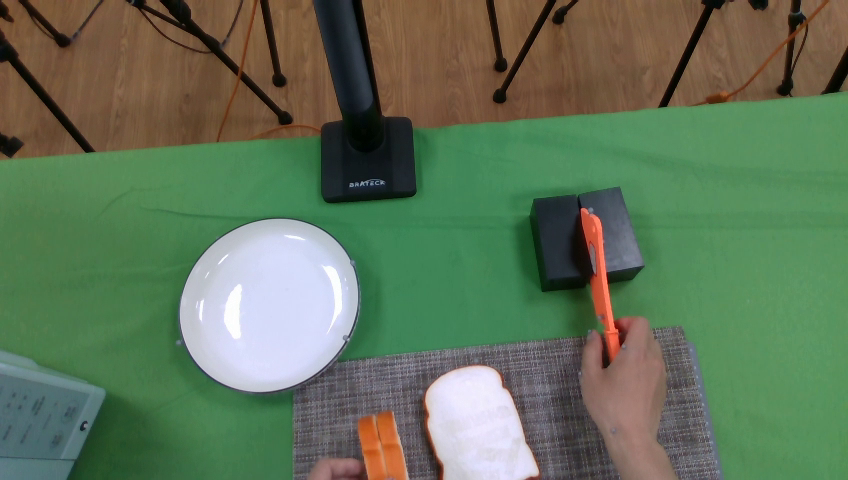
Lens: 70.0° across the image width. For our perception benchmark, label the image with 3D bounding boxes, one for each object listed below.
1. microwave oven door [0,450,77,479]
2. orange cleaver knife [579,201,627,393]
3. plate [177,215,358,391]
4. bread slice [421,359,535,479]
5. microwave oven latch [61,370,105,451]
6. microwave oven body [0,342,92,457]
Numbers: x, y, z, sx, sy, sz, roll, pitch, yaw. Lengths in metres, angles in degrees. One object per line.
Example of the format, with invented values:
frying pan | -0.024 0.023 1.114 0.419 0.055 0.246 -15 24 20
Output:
microwave oven door | -0.446 0.346 0.491 0.039 0.245 0.354 15 71 9
orange cleaver knife | 0.196 0.060 0.671 0.012 0.077 0.211 -10 91 2
plate | -0.178 0.073 0.707 0.207 0.039 0.206 -1 70 2
bread slice | 0.056 0.199 0.660 0.107 0.018 0.133 -12 79 -8
microwave oven latch | -0.376 0.185 0.655 0.030 0.030 0.079 17 72 8
microwave oven body | -0.574 0.273 0.528 0.325 0.262 0.439 15 72 7
